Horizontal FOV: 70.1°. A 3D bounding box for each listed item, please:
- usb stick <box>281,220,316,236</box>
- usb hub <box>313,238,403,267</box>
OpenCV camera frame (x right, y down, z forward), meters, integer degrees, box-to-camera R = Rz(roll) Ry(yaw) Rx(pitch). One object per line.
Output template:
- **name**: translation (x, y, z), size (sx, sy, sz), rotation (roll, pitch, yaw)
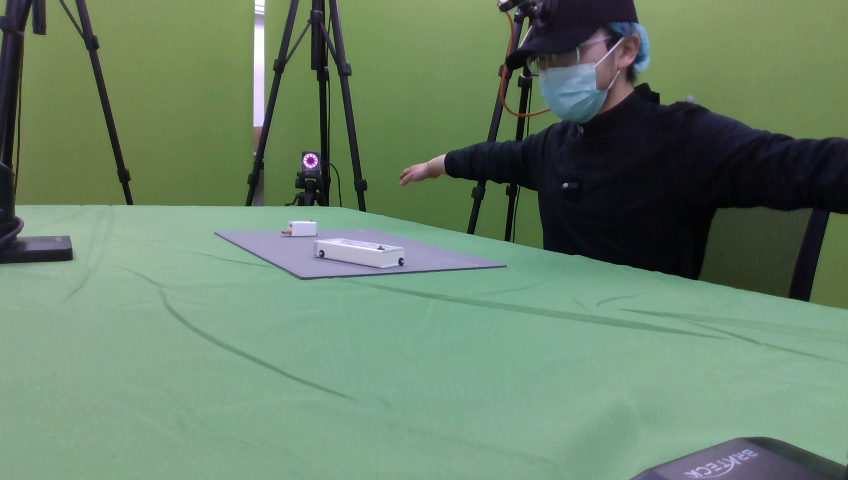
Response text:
- **usb stick**: translation (-0.220, -0.020, 1.054), size (0.059, 0.027, 0.021), rotation (-5, 12, -32)
- **usb hub**: translation (-0.091, 0.016, 0.818), size (0.124, 0.025, 0.050), rotation (7, 9, 36)
